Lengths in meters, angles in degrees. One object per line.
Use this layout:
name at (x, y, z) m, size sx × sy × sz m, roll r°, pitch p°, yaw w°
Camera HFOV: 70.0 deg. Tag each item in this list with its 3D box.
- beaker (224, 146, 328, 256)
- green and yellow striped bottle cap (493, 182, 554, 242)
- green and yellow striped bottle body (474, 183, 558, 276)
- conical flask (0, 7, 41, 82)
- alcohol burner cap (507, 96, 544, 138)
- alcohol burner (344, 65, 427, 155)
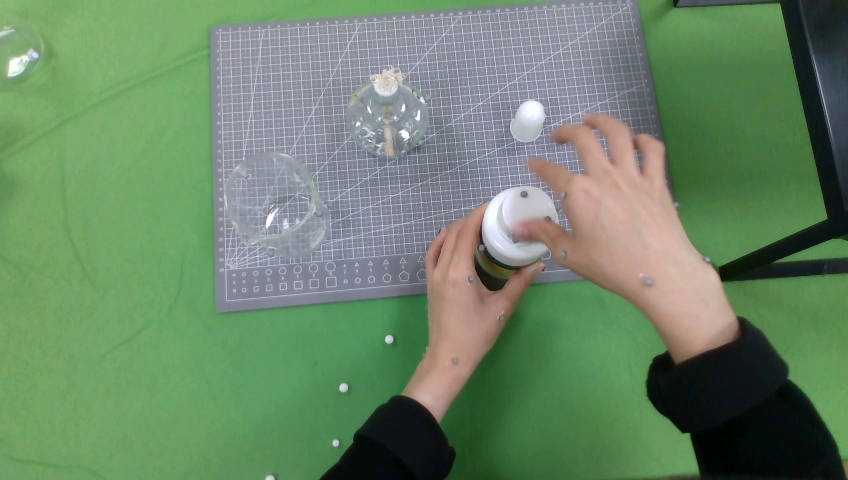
beaker at (-0.127, -0.027, 0.538) m, size 0.074 × 0.100 × 0.083 m, roll 23°, pitch 78°, yaw 5°
green and yellow striped bottle cap at (0.078, -0.022, 0.472) m, size 0.045 × 0.020 × 0.045 m, roll 3°, pitch 74°, yaw -9°
green and yellow striped bottle body at (0.079, -0.009, 0.528) m, size 0.063 × 0.120 × 0.063 m, roll 0°, pitch 77°, yaw 0°
conical flask at (-0.427, -0.207, 0.563) m, size 0.075 × 0.122 × 0.075 m, roll 0°, pitch 77°, yaw 0°
alcohol burner cap at (0.101, -0.123, 0.594) m, size 0.034 × 0.048 × 0.033 m, roll 0°, pitch 77°, yaw -1°
alcohol burner at (-0.035, -0.124, 0.554) m, size 0.078 × 0.119 × 0.077 m, roll 1°, pitch 76°, yaw -2°
